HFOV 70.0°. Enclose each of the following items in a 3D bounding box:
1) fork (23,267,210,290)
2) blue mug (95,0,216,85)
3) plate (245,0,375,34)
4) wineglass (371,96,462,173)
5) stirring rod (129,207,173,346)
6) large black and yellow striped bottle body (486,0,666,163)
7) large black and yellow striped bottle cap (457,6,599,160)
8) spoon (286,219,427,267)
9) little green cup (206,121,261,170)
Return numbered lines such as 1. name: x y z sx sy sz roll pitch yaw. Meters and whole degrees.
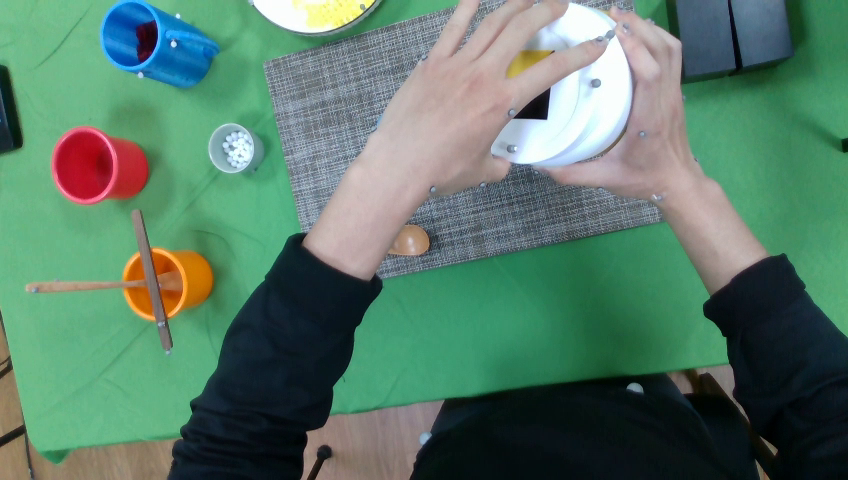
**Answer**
1. fork: -0.377 0.051 0.757 0.208 0.018 0.028 -2 102 -32
2. blue mug: -0.317 -0.241 0.744 0.116 0.106 0.082 1 94 11
3. plate: -0.133 -0.354 0.733 0.209 0.038 0.209 1 95 11
4. wineglass: -0.003 -0.109 0.654 0.073 0.172 0.074 1 94 12
5. stirring rod: -0.336 0.045 0.746 0.014 0.006 0.176 -13 92 13
6. large black and yellow striped bottle body: 0.125 -0.139 0.533 0.130 0.184 0.131 11 110 33
7. large black and yellow striped bottle cap: 0.077 -0.119 0.467 0.114 0.019 0.115 10 108 33
8. spoon: -0.088 0.010 0.758 0.193 0.021 0.042 -13 113 12
9. little green cup: -0.241 -0.119 0.773 0.061 0.038 0.061 1 95 12
